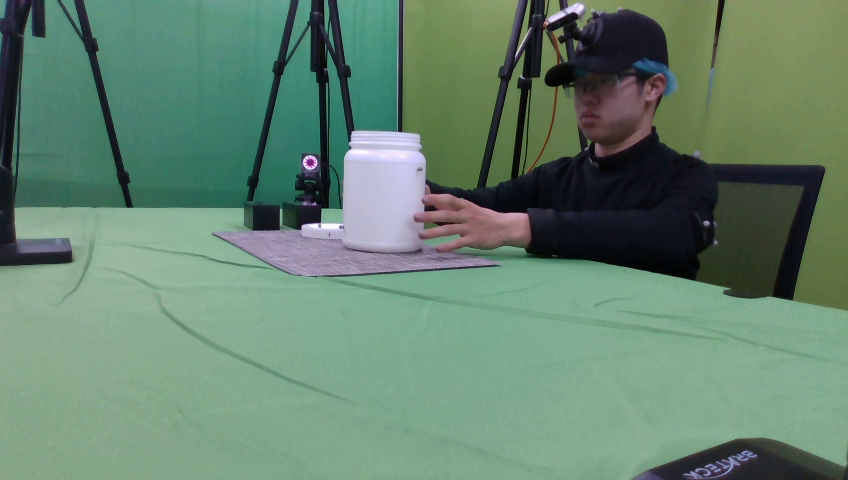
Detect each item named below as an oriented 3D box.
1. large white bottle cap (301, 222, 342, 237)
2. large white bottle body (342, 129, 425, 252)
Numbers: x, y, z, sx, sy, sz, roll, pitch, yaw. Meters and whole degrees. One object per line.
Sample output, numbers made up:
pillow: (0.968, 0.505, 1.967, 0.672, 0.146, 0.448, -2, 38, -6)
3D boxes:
large white bottle cap: (-0.167, -0.019, 1.103, 0.115, 0.018, 0.115, 2, 7, 0)
large white bottle body: (-0.064, -0.080, 0.958, 0.131, 0.184, 0.130, 2, 7, 0)
